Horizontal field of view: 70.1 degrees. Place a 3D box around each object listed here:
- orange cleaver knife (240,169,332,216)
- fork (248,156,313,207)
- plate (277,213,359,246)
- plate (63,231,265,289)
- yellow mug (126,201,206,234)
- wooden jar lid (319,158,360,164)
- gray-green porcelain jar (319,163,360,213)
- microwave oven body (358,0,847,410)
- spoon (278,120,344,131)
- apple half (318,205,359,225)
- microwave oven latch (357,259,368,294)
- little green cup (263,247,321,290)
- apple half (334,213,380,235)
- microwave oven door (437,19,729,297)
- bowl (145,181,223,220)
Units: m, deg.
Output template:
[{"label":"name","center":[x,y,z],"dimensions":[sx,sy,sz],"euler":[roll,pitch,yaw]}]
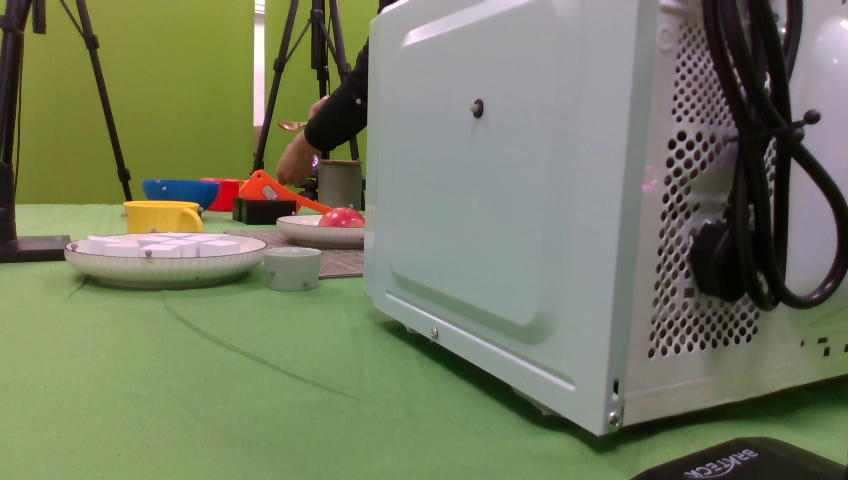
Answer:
[{"label":"orange cleaver knife","center":[-0.287,-0.082,1.298],"dimensions":[0.212,0.077,0.012],"euler":[25,-2,-31]},{"label":"fork","center":[-0.361,-0.147,1.524],"dimensions":[0.207,0.018,0.028],"euler":[-43,6,-7]},{"label":"plate","center":[-0.135,-0.018,0.994],"dimensions":[0.209,0.038,0.209],"euler":[2,7,0]},{"label":"plate","center":[-0.288,0.021,0.687],"dimensions":[0.208,0.039,0.207],"euler":[2,8,0]},{"label":"yellow mug","center":[-0.361,-0.019,0.866],"dimensions":[0.130,0.064,0.100],"euler":[6,9,27]},{"label":"wooden jar lid","center":[-0.203,-0.189,1.482],"dimensions":[0.108,0.020,0.108],"euler":[2,10,0]},{"label":"gray-green porcelain jar","center":[-0.205,-0.125,1.490],"dimensions":[0.106,0.126,0.106],"euler":[1,7,0]},{"label":"microwave oven body","center":[0.210,-0.051,0.471],"dimensions":[0.444,0.260,0.324],"euler":[-1,7,-28]},{"label":"spoon","center":[-0.279,-0.291,1.515],"dimensions":[0.195,0.021,0.041],"euler":[-14,48,-40]},{"label":"apple half","center":[-0.126,-0.028,0.954],"dimensions":[0.081,0.053,0.074],"euler":[-2,11,-33]},{"label":"microwave oven latch","center":[-0.019,0.031,0.530],"dimensions":[0.079,0.029,0.030],"euler":[-1,7,-28]},{"label":"little green cup","center":[-0.142,0.030,0.649],"dimensions":[0.061,0.038,0.061],"euler":[3,6,0]},{"label":"apple half","center":[-0.112,-0.029,1.034],"dimensions":[0.081,0.033,0.081],"euler":[0,10,0]},{"label":"microwave oven door","center":[0.180,-0.076,0.618],"dimensions":[0.358,0.243,0.039],"euler":[-2,8,-28]},{"label":"bowl","center":[-0.499,-0.081,1.261],"dimensions":[0.151,0.077,0.151],"euler":[2,7,0]}]
